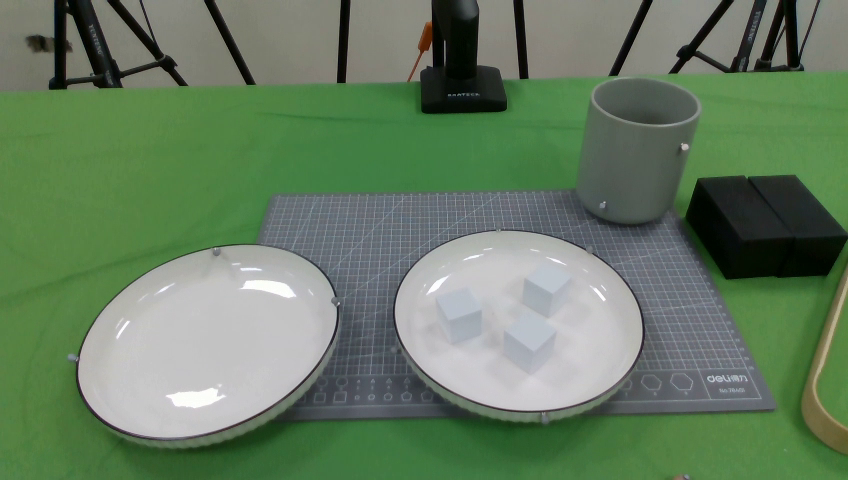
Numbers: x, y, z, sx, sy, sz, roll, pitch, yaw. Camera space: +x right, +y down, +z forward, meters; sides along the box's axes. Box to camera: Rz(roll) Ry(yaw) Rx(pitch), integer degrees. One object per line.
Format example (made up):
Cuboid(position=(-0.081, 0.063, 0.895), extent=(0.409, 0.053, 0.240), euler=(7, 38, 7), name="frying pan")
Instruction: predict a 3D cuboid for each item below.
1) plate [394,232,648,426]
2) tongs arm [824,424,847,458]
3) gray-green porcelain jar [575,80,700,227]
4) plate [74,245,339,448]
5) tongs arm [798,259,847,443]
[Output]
Cuboid(position=(0.079, 0.072, 0.517), extent=(0.208, 0.039, 0.205), euler=(0, 40, 1), name="plate")
Cuboid(position=(0.460, 0.072, 0.516), extent=(0.385, 0.027, 0.050), euler=(-29, 47, -27), name="tongs arm")
Cuboid(position=(0.216, -0.086, 0.632), extent=(0.106, 0.127, 0.105), euler=(-1, 40, 1), name="gray-green porcelain jar")
Cuboid(position=(-0.173, 0.085, 0.507), extent=(0.209, 0.038, 0.207), euler=(-2, 40, 2), name="plate")
Cuboid(position=(0.403, 0.037, 0.563), extent=(0.028, 0.028, 0.387), euler=(28, 49, 26), name="tongs arm")
